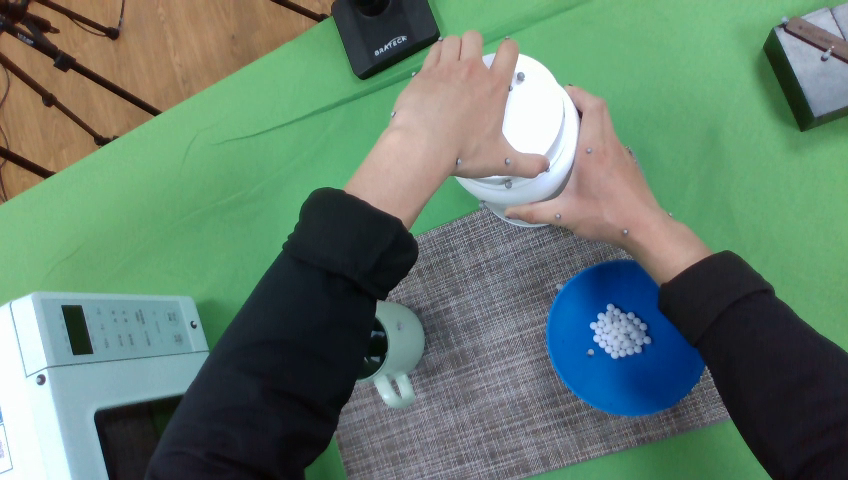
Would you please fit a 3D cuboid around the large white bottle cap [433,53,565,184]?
[{"bbox_3d":[0.064,-0.106,0.527,0.114,0.018,0.114,-3,80,18],"label":"large white bottle cap"}]

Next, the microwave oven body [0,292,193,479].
[{"bbox_3d":[-0.413,0.321,0.706,0.326,0.261,0.439,-24,79,14],"label":"microwave oven body"}]

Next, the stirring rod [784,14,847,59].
[{"bbox_3d":[0.414,-0.161,0.555,0.175,0.006,0.014,37,131,18],"label":"stirring rod"}]

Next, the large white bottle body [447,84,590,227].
[{"bbox_3d":[0.096,-0.091,0.614,0.130,0.186,0.130,-3,81,19],"label":"large white bottle body"}]

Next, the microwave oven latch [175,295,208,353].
[{"bbox_3d":[-0.312,0.111,0.794,0.030,0.029,0.079,-24,79,14],"label":"microwave oven latch"}]

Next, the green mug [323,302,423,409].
[{"bbox_3d":[-0.048,0.131,0.683,0.092,0.105,0.124,-31,76,13],"label":"green mug"}]

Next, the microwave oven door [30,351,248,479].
[{"bbox_3d":[-0.271,0.301,0.655,0.039,0.245,0.354,-24,78,15],"label":"microwave oven door"}]

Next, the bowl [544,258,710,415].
[{"bbox_3d":[0.204,0.096,0.616,0.151,0.077,0.151,-2,84,19],"label":"bowl"}]
